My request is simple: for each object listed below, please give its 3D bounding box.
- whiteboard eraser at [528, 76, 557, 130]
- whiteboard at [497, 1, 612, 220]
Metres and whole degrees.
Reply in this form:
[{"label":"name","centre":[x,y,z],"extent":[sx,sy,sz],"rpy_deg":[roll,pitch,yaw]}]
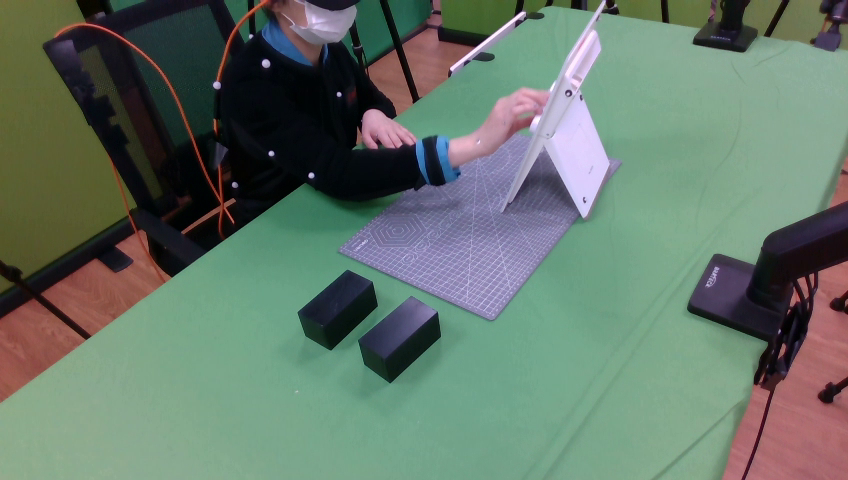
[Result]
[{"label":"whiteboard eraser","centre":[0.194,-0.217,0.963],"extent":[0.019,0.041,0.101],"rpy_deg":[28,73,10]},{"label":"whiteboard","centre":[0.259,-0.177,0.963],"extent":[0.143,0.306,0.217],"rpy_deg":[28,48,9]}]
